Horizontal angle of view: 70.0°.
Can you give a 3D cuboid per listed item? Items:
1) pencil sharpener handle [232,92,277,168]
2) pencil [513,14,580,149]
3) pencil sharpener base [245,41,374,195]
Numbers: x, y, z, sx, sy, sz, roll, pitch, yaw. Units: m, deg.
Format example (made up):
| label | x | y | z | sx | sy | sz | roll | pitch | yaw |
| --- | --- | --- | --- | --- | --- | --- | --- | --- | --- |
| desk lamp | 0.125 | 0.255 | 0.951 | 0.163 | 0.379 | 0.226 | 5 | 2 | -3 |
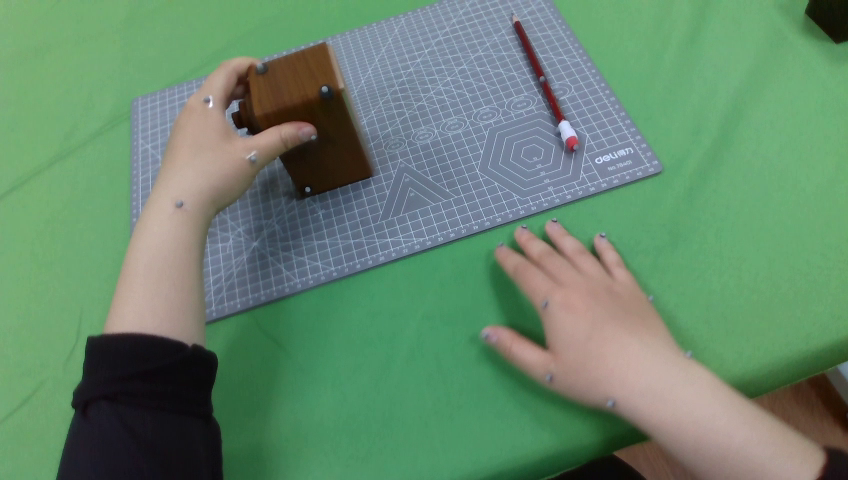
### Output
| label | x | y | z | sx | sy | sz | roll | pitch | yaw |
| --- | --- | --- | --- | --- | --- | --- | --- | --- | --- |
| pencil sharpener handle | -0.144 | -0.086 | 0.495 | 0.030 | 0.068 | 0.035 | -19 | 53 | -1 |
| pencil | 0.109 | -0.155 | 0.563 | 0.012 | 0.012 | 0.192 | -15 | 55 | 2 |
| pencil sharpener base | -0.094 | -0.097 | 0.507 | 0.077 | 0.108 | 0.060 | -19 | 56 | -1 |
